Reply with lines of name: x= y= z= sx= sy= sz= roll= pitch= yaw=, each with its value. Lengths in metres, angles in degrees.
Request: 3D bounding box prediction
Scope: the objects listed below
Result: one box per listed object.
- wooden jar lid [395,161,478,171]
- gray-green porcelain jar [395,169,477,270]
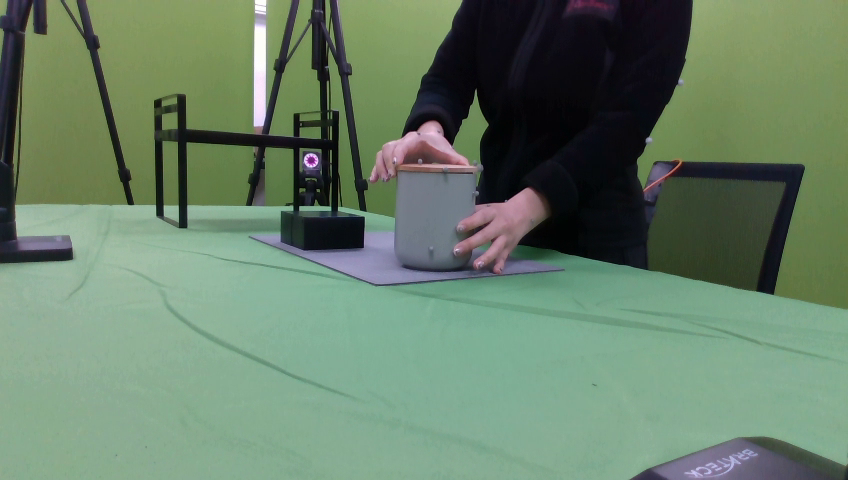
wooden jar lid: x=0.016 y=-0.091 z=0.785 sx=0.108 sy=0.020 sz=0.108 roll=3 pitch=10 yaw=0
gray-green porcelain jar: x=0.015 y=-0.029 z=0.793 sx=0.106 sy=0.126 sz=0.106 roll=2 pitch=7 yaw=0
